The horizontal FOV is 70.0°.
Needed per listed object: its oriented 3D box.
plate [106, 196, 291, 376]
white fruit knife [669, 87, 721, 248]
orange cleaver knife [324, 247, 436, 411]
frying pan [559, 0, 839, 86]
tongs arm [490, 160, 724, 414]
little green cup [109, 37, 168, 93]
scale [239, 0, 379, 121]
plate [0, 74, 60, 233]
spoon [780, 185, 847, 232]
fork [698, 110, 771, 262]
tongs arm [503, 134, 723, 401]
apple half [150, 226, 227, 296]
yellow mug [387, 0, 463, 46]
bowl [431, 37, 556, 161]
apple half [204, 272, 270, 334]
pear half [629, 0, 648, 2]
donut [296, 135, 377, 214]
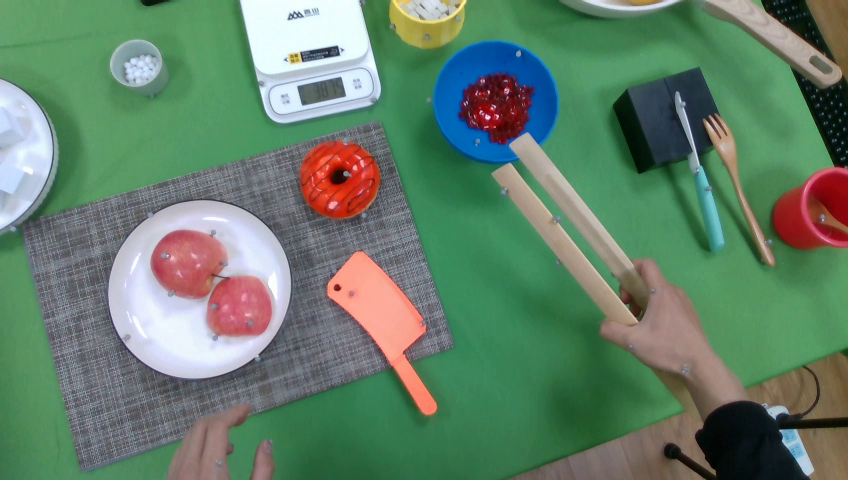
[{"bbox_3d":[-0.258,0.052,0.710,0.209,0.038,0.208,1,81,-3],"label":"plate"},{"bbox_3d":[0.334,-0.088,0.750,0.016,0.027,0.208,-20,97,-6],"label":"white fruit knife"},{"bbox_3d":[-0.039,0.104,0.724,0.077,0.012,0.210,-36,84,-13],"label":"orange cleaver knife"},{"bbox_3d":[0.320,-0.355,0.778,0.306,0.103,0.485,-44,78,-8],"label":"frying pan"},{"bbox_3d":[0.202,0.058,0.636,0.387,0.026,0.050,49,39,-14],"label":"tongs arm"},{"bbox_3d":[-0.350,-0.213,0.749,0.061,0.039,0.061,1,81,-3],"label":"little green cup"},{"bbox_3d":[-0.148,-0.260,0.771,0.149,0.031,0.200,-13,83,-5],"label":"scale"},{"bbox_3d":[-0.537,-0.098,0.720,0.208,0.039,0.207,1,81,-3],"label":"plate"},{"bbox_3d":[0.503,-0.010,0.716,0.041,0.022,0.191,-23,39,-7],"label":"spoon"},{"bbox_3d":[0.392,-0.065,0.758,0.028,0.018,0.208,-27,99,-9],"label":"fork"},{"bbox_3d":[0.213,0.039,0.660,0.028,0.028,0.389,-32,108,34],"label":"tongs arm"},{"bbox_3d":[-0.276,0.020,0.698,0.074,0.053,0.080,32,80,6],"label":"apple half"},{"bbox_3d":[-0.010,-0.318,0.771,0.130,0.064,0.100,39,81,4],"label":"yellow mug"},{"bbox_3d":[0.080,-0.162,0.747,0.151,0.077,0.151,1,82,-3],"label":"bowl"},{"bbox_3d":[-0.221,0.073,0.702,0.081,0.033,0.081,0,84,-1],"label":"apple half"},{"bbox_3d":[0.284,-0.343,0.767,0.076,0.110,0.056,18,81,3],"label":"pear half"},{"bbox_3d":[-0.106,-0.079,0.736,0.099,0.048,0.098,0,82,-1],"label":"donut"}]
